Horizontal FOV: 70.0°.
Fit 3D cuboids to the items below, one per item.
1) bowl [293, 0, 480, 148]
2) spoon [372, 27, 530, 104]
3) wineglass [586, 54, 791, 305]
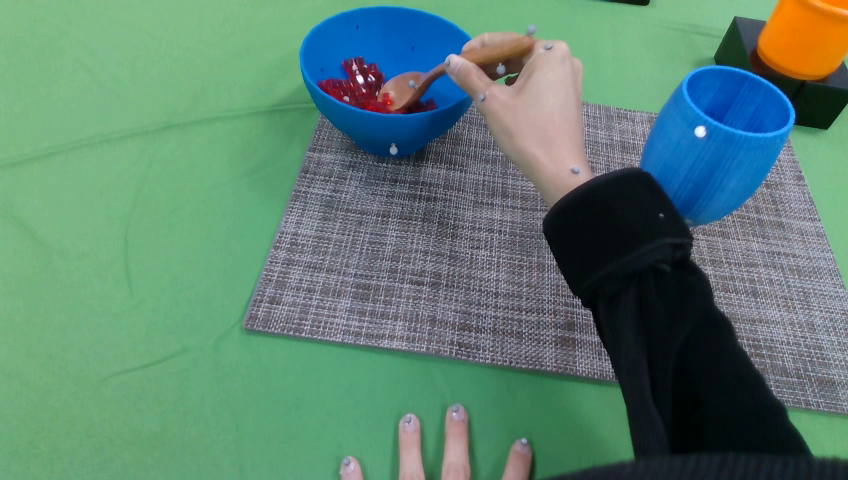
[{"bbox_3d":[-0.032,-0.133,0.520,0.151,0.077,0.150,3,52,-4],"label":"bowl"},{"bbox_3d":[0.012,-0.133,0.461,0.022,0.192,0.041,36,74,-25],"label":"spoon"},{"bbox_3d":[0.164,-0.030,0.401,0.074,0.173,0.073,3,52,-3],"label":"wineglass"}]
